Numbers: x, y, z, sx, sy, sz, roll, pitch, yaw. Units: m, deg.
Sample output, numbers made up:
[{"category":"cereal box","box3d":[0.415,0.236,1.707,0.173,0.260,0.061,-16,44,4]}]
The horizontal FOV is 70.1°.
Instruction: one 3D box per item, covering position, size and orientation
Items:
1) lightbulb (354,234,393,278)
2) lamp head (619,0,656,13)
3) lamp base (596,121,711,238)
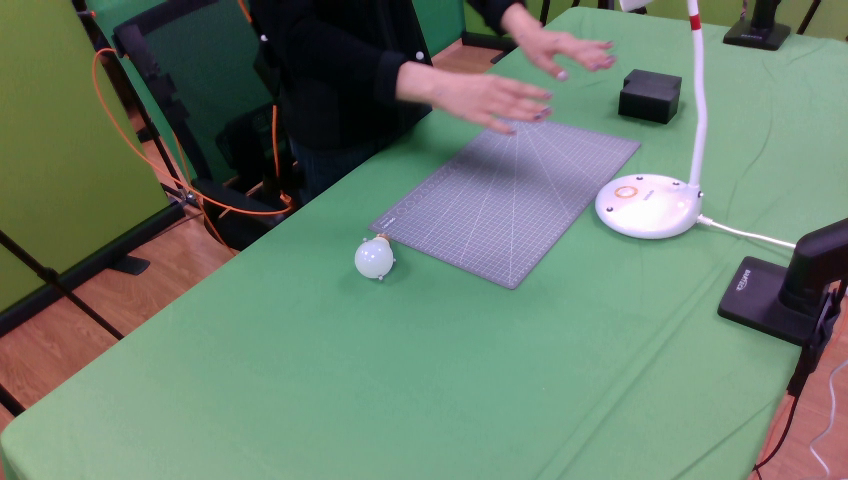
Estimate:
[{"category":"lightbulb","box3d":[-0.075,0.020,0.952,0.059,0.060,0.107,-2,25,9]},{"category":"lamp head","box3d":[0.282,-0.338,0.715,0.122,0.113,0.112,-9,40,15]},{"category":"lamp base","box3d":[0.363,-0.113,0.925,0.178,0.181,0.161,17,47,24]}]
